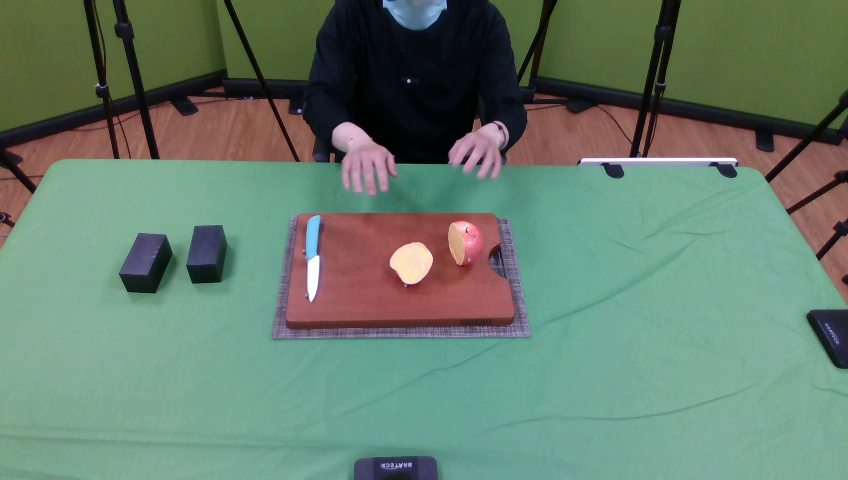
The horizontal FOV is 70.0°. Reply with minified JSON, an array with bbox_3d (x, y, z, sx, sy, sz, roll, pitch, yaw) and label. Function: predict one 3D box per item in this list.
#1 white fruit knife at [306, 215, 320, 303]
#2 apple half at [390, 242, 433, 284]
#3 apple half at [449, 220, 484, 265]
[{"bbox_3d":[-0.206,0.032,1.113,0.027,0.016,0.206,-12,47,5],"label":"white fruit knife"},{"bbox_3d":[-0.017,0.045,1.096,0.081,0.033,0.081,-6,64,13],"label":"apple half"},{"bbox_3d":[0.083,0.004,1.121,0.053,0.075,0.080,-10,43,-19],"label":"apple half"}]
